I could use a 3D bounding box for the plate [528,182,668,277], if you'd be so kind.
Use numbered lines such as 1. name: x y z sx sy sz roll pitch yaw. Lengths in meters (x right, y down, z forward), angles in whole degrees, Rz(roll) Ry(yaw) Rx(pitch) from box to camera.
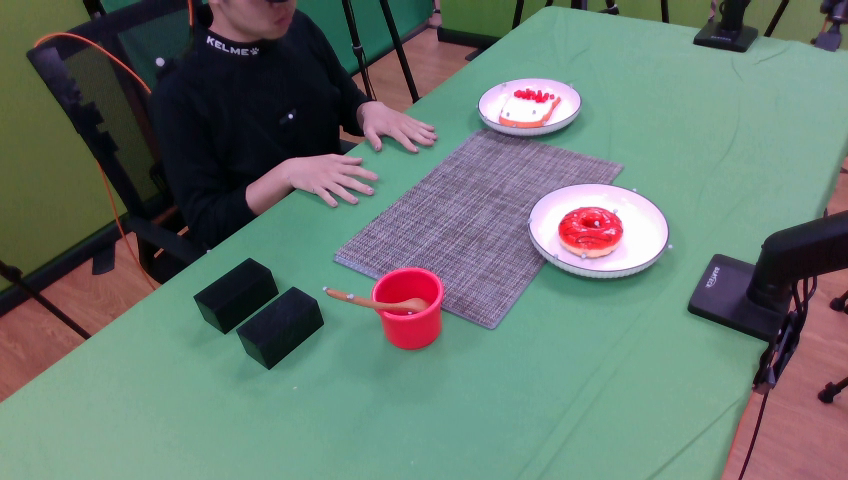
1. plate: 0.264 -0.014 0.933 0.207 0.039 0.206 -3 42 3

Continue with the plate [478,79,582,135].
1. plate: 0.216 -0.268 1.239 0.209 0.038 0.208 -4 40 4

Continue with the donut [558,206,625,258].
1. donut: 0.254 -0.015 0.917 0.099 0.048 0.098 -5 41 5

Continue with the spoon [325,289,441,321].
1. spoon: -0.047 0.084 0.776 0.195 0.021 0.041 12 27 -42

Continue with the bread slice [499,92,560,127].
1. bread slice: 0.214 -0.268 1.243 0.104 0.019 0.131 12 43 21
